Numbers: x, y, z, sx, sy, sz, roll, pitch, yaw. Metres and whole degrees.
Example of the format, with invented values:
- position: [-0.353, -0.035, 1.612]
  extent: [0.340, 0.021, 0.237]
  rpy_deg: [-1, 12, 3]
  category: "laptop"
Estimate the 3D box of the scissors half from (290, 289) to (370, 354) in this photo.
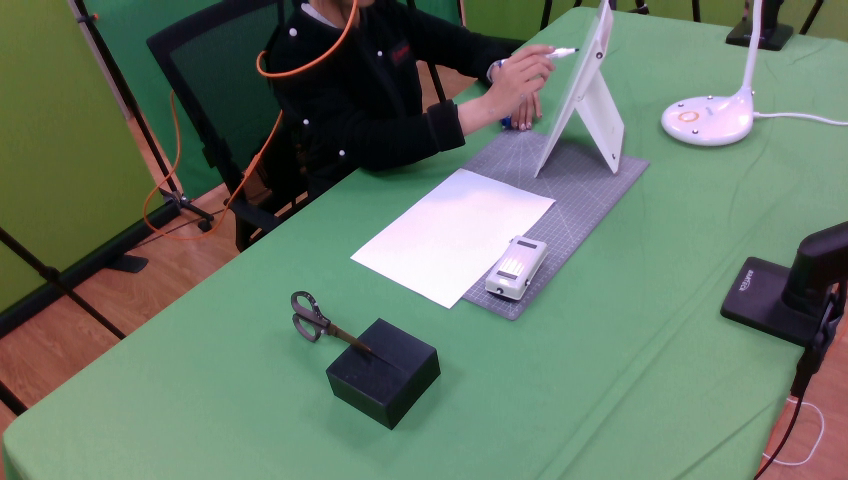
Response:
- position: [-0.128, 0.110, 0.809]
  extent: [0.013, 0.040, 0.173]
  rpy_deg: [-17, 36, -43]
  category: "scissors half"

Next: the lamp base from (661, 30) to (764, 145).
- position: [0.535, -0.287, 1.096]
  extent: [0.179, 0.181, 0.159]
  rpy_deg: [-10, 40, -4]
  category: "lamp base"

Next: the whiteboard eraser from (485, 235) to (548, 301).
- position: [0.137, 0.042, 0.887]
  extent: [0.055, 0.042, 0.113]
  rpy_deg: [15, 46, 27]
  category: "whiteboard eraser"

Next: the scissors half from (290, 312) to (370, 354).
- position: [-0.128, 0.129, 0.816]
  extent: [0.013, 0.040, 0.173]
  rpy_deg: [-23, 22, -40]
  category: "scissors half"

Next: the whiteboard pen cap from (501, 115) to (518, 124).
- position: [0.173, -0.244, 1.224]
  extent: [0.033, 0.018, 0.018]
  rpy_deg: [-13, 38, -26]
  category: "whiteboard pen cap"

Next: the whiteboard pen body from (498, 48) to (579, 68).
- position: [0.201, -0.321, 1.062]
  extent: [0.140, 0.017, 0.017]
  rpy_deg: [-7, 40, 13]
  category: "whiteboard pen body"

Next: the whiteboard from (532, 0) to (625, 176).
- position: [0.320, -0.259, 1.050]
  extent: [0.144, 0.306, 0.217]
  rpy_deg: [21, 45, 5]
  category: "whiteboard"
